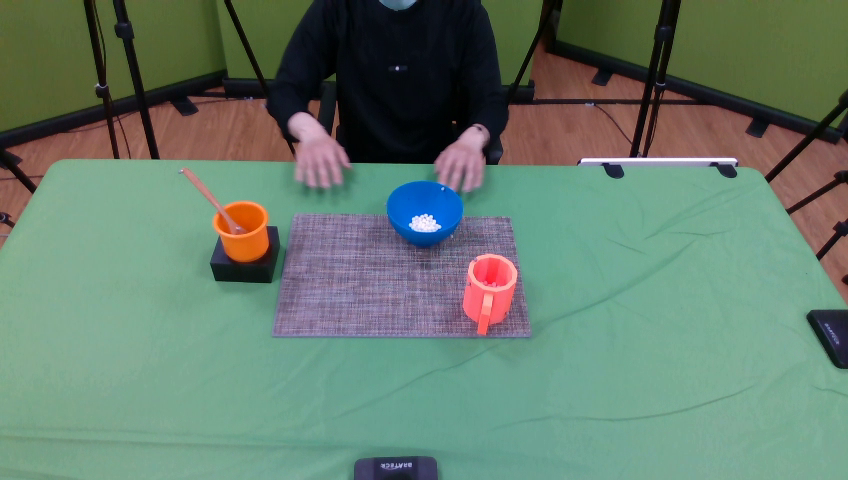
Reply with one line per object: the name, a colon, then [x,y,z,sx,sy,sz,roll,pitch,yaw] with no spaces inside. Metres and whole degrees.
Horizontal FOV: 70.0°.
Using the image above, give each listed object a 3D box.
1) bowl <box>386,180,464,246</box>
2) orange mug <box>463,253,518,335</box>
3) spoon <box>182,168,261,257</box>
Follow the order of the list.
bowl: [0.000,-0.041,1.191,0.151,0.077,0.150,2,46,-2]
orange mug: [0.113,0.098,1.050,0.083,0.101,0.125,10,42,6]
spoon: [-0.354,-0.049,1.061,0.041,0.194,0.021,-44,19,-31]
